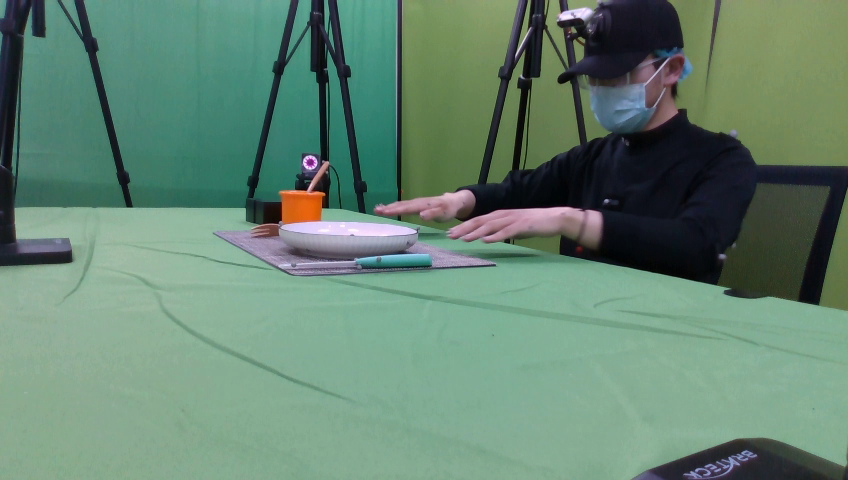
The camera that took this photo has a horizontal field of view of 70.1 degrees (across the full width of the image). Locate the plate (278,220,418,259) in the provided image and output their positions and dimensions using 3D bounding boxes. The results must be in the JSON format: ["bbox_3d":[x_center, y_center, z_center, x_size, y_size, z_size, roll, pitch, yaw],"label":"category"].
[{"bbox_3d":[-0.114,-0.002,0.914,0.209,0.038,0.209,2,7,0],"label":"plate"}]

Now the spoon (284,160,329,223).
[{"bbox_3d":[-0.237,-0.101,1.253,0.041,0.193,0.022,3,-37,24],"label":"spoon"}]

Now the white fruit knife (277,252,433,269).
[{"bbox_3d":[-0.082,0.029,0.772,0.208,0.016,0.027,-3,-20,-22],"label":"white fruit knife"}]

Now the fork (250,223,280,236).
[{"bbox_3d":[-0.194,-0.014,1.051,0.208,0.028,0.018,3,38,-14],"label":"fork"}]
